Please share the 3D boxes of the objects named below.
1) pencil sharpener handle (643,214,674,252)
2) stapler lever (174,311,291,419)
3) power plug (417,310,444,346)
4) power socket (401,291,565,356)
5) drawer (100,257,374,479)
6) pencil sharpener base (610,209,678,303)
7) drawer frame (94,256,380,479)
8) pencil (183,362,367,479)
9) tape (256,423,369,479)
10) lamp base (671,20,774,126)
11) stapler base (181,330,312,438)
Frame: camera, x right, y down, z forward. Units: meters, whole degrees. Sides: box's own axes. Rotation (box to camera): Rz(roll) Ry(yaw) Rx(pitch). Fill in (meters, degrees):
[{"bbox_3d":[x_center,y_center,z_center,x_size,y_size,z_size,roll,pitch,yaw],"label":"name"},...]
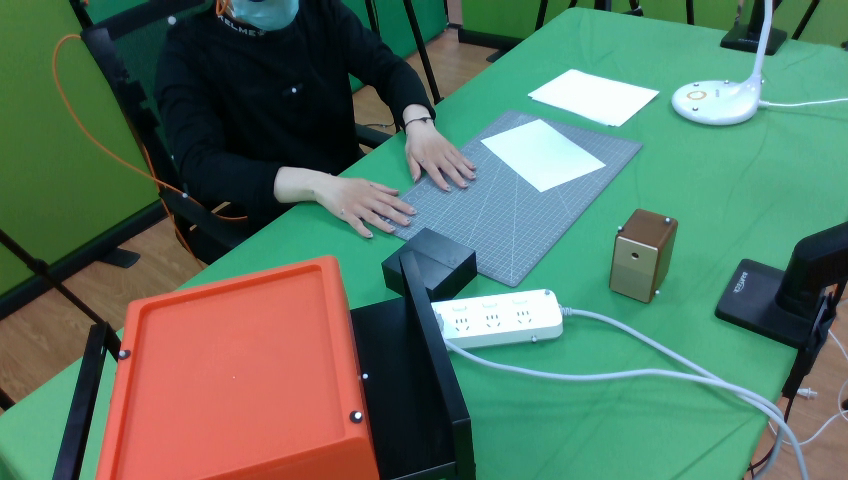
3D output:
[{"bbox_3d":[0.337,-0.016,0.857,0.035,0.068,0.031,1,35,44],"label":"pencil sharpener handle"},{"bbox_3d":[-0.173,0.109,0.546,0.118,0.040,0.026,-36,44,-21],"label":"stapler lever"},{"bbox_3d":[0.006,0.122,0.785,0.035,0.053,0.072,-1,40,8],"label":"power plug"},{"bbox_3d":[0.080,0.112,0.822,0.227,0.033,0.072,-6,41,0],"label":"power socket"},{"bbox_3d":[-0.158,0.125,0.526,0.195,0.073,0.210,-13,41,-7],"label":"drawer"},{"bbox_3d":[0.304,0.021,0.839,0.061,0.107,0.077,21,48,30],"label":"pencil sharpener base"},{"bbox_3d":[-0.155,0.125,0.525,0.202,0.083,0.212,-13,41,-8],"label":"drawer frame"},{"bbox_3d":[-0.127,0.158,0.519,0.195,0.012,0.012,-31,46,-28],"label":"pencil"},{"bbox_3d":[-0.121,0.263,0.660,0.117,0.053,0.116,-4,40,4],"label":"tape"},{"bbox_3d":[0.581,-0.332,1.154,0.179,0.181,0.160,2,41,7],"label":"lamp base"},{"bbox_3d":[-0.167,0.126,0.563,0.131,0.024,0.041,-37,44,-20],"label":"stapler base"}]
